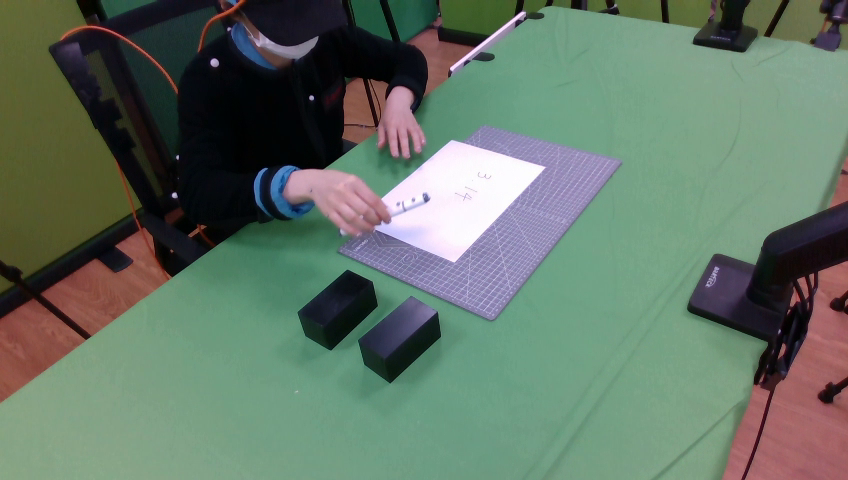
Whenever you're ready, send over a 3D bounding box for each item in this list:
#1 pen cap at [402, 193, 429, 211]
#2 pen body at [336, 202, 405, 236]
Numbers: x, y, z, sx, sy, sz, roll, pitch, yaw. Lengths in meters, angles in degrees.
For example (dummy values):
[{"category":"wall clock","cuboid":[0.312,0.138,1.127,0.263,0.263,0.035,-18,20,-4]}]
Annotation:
[{"category":"pen cap","cuboid":[-0.012,-0.055,0.869,0.038,0.017,0.017,-20,36,22]},{"category":"pen body","cuboid":[-0.067,-0.034,0.892,0.143,0.017,0.017,-20,36,21]}]
